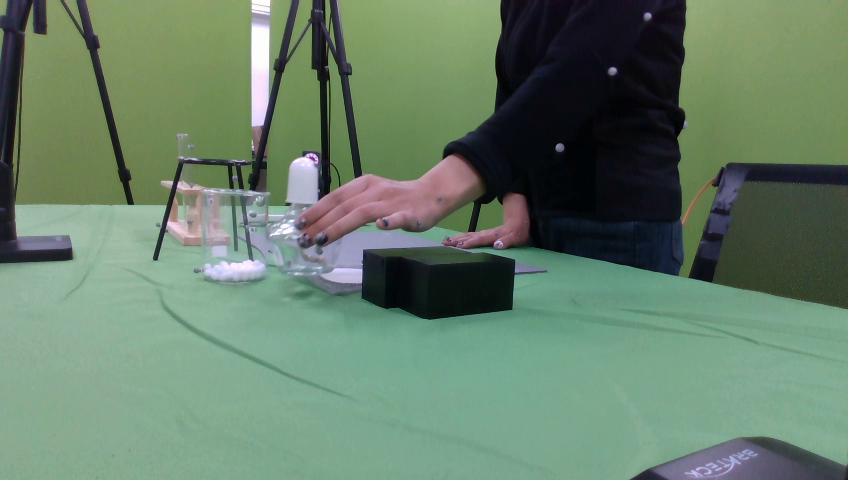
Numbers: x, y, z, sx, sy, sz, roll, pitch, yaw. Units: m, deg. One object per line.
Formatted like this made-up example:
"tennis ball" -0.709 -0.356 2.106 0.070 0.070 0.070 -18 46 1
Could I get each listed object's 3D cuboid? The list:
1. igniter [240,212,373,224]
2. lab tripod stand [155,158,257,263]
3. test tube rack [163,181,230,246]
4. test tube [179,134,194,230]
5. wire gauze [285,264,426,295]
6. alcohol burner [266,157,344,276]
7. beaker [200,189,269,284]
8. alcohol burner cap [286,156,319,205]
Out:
"igniter" -0.237 -0.045 1.250 0.278 0.025 0.057 -2 -2 -31
"lab tripod stand" -0.275 -0.041 0.797 0.148 0.131 0.148 2 9 0
"test tube rack" -0.387 -0.050 1.015 0.067 0.085 0.241 -2 9 -30
"test tube" -0.366 -0.089 0.938 0.017 0.150 0.017 -1 9 1
"wire gauze" -0.079 0.039 0.692 0.122 0.011 0.124 -4 11 -37
"alcohol burner" -0.120 -0.024 0.608 0.078 0.119 0.078 -3 6 1
"beaker" -0.209 -0.006 0.676 0.073 0.100 0.084 7 7 28
"alcohol burner cap" -0.120 -0.060 0.604 0.034 0.048 0.034 5 8 0
